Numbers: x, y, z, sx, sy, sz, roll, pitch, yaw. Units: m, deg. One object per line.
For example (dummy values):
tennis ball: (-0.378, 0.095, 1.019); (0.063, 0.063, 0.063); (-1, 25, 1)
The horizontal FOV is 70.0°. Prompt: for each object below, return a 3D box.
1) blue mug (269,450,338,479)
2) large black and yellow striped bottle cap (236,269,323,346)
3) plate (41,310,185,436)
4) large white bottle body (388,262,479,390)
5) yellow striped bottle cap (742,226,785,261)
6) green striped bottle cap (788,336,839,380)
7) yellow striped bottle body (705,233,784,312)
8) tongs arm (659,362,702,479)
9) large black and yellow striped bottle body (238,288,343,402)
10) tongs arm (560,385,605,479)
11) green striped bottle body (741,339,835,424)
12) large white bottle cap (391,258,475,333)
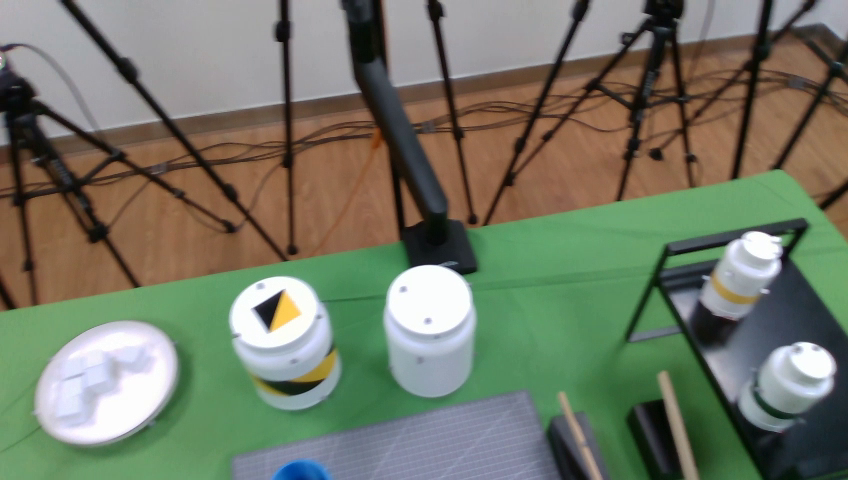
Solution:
blue mug: (-0.134, 0.335, 0.784); (0.116, 0.107, 0.082); (14, 53, 11)
large black and yellow striped bottle cap: (-0.196, 0.090, 0.822); (0.115, 0.019, 0.114); (1, 53, 0)
plate: (-0.473, 0.205, 0.936); (0.208, 0.039, 0.205); (0, 52, 1)
large white bottle body: (0.014, 0.127, 0.896); (0.130, 0.186, 0.129); (0, 52, 1)
yellow striped bottle cap: (0.410, 0.004, 0.731); (0.044, 0.019, 0.044); (1, 51, -1)
green striped bottle cap: (0.410, 0.124, 0.639); (0.044, 0.020, 0.044); (-1, 53, 2)
yellow striped bottle body: (0.411, 0.036, 0.773); (0.063, 0.121, 0.062); (0, 52, 1)
tongs arm: (0.348, 0.347, 0.774); (0.028, 0.028, 0.384); (1, 64, -9)
large black and yellow striped bottle body: (-0.194, 0.143, 0.887); (0.131, 0.185, 0.129); (0, 52, 1)
tongs arm: (0.268, 0.361, 0.761); (0.051, 0.027, 0.381); (-13, 65, -12)
green striped bottle body: (0.411, 0.156, 0.680); (0.063, 0.120, 0.062); (0, 52, 1)
large white bottle cap: (0.012, 0.074, 0.829); (0.115, 0.018, 0.113); (0, 51, 0)
